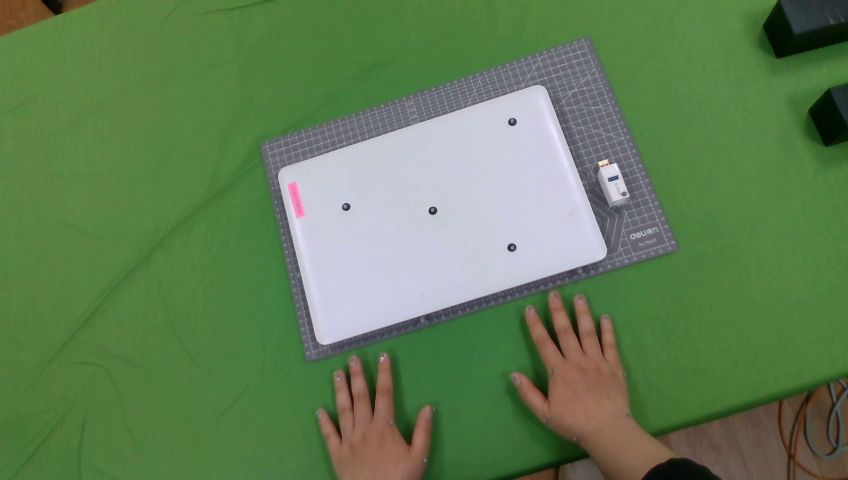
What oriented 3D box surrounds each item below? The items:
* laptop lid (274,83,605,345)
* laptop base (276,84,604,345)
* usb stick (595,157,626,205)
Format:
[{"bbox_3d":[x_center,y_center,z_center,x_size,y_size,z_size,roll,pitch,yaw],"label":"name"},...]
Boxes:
[{"bbox_3d":[0.009,-0.035,0.723,0.357,0.013,0.240,-16,75,3],"label":"laptop lid"},{"bbox_3d":[0.010,-0.035,0.734,0.354,0.023,0.234,-18,76,3],"label":"laptop base"},{"bbox_3d":[0.216,-0.073,0.709,0.021,0.027,0.058,-19,70,7],"label":"usb stick"}]
